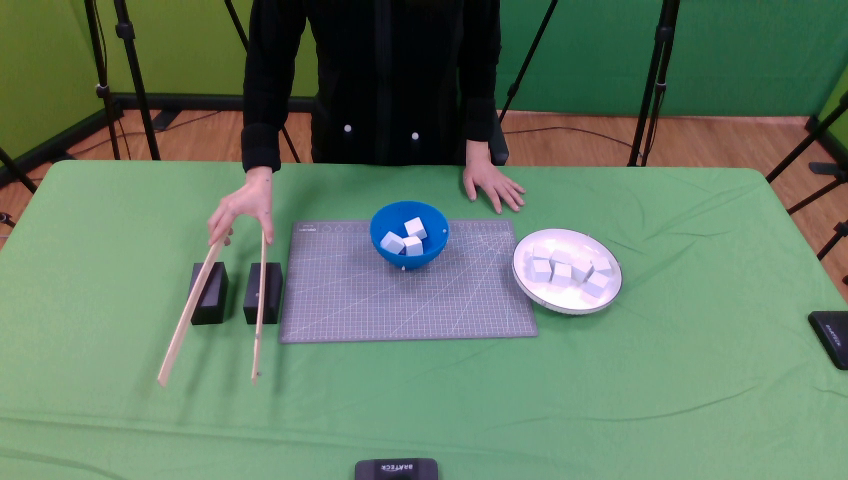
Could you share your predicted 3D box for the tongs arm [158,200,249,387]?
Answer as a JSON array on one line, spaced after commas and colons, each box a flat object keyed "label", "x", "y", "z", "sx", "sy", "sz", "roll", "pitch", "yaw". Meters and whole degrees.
[{"label": "tongs arm", "x": -0.368, "y": 0.072, "z": 1.027, "sx": 0.028, "sy": 0.028, "sz": 0.385, "roll": 2, "pitch": 48, "yaw": 7}]

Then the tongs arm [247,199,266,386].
[{"label": "tongs arm", "x": -0.295, "y": 0.072, "z": 1.030, "sx": 0.051, "sy": 0.026, "sz": 0.382, "roll": -4, "pitch": 48, "yaw": -3}]

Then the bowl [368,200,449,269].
[{"label": "bowl", "x": -0.031, "y": 0.002, "z": 1.150, "sx": 0.151, "sy": 0.077, "sz": 0.150, "roll": 2, "pitch": 46, "yaw": -2}]

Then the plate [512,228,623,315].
[{"label": "plate", "x": 0.268, "y": 0.063, "z": 1.146, "sx": 0.208, "sy": 0.039, "sz": 0.206, "roll": 3, "pitch": 46, "yaw": -3}]
